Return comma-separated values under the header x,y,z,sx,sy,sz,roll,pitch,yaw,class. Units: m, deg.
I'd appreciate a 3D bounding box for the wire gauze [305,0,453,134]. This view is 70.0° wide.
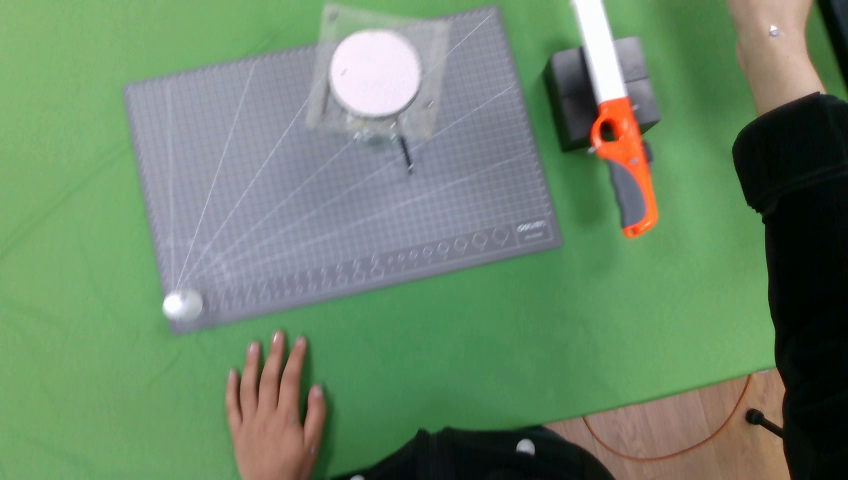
x,y,z,sx,sy,sz,roll,pitch,yaw,class
-0.042,-0.165,0.569,0.121,0.011,0.124,10,83,-1,wire gauze

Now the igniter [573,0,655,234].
x,y,z,sx,sy,sz,roll,pitch,yaw,class
0.203,-0.143,0.650,0.057,0.025,0.275,-11,84,1,igniter

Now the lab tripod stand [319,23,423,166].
x,y,z,sx,sy,sz,roll,pitch,yaw,class
-0.046,-0.160,0.636,0.148,0.132,0.148,0,82,-1,lab tripod stand

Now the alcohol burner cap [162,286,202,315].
x,y,z,sx,sy,sz,roll,pitch,yaw,class
-0.264,0.065,0.653,0.034,0.048,0.034,0,84,-2,alcohol burner cap

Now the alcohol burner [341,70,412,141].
x,y,z,sx,sy,sz,roll,pitch,yaw,class
-0.052,-0.148,0.644,0.078,0.119,0.077,0,86,-1,alcohol burner
